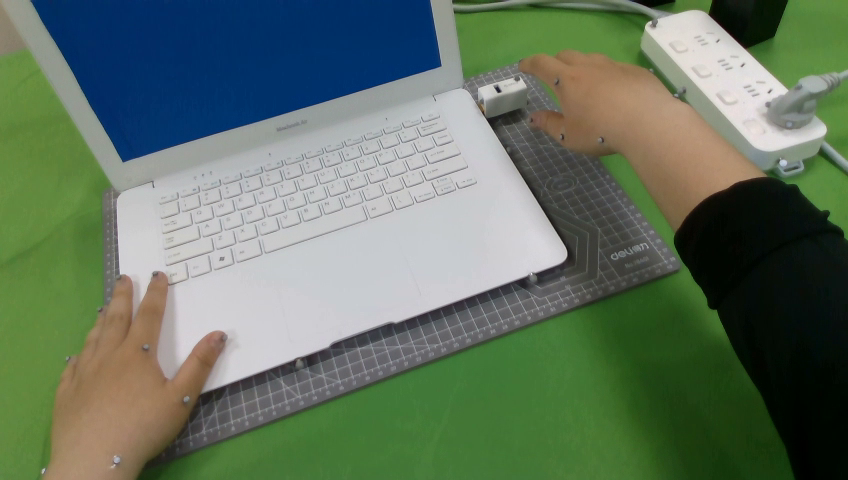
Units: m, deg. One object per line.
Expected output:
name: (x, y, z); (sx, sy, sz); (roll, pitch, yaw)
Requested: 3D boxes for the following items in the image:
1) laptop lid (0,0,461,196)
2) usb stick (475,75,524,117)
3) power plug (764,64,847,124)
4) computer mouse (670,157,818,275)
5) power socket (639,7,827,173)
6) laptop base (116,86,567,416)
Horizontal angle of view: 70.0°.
laptop lid: (-0.147, -0.184, 0.523); (0.357, 0.244, 0.013); (-21, 40, -6)
usb stick: (0.067, -0.138, 0.591); (0.059, 0.027, 0.021); (-20, 51, -5)
power plug: (0.331, -0.118, 0.519); (0.072, 0.053, 0.035); (-8, 55, 1)
computer mouse: (0.253, -0.026, 0.484); (0.063, 0.041, 0.116); (-19, 49, -5)
power socket: (0.285, -0.152, 0.578); (0.072, 0.033, 0.224); (-17, 52, -5)
laptop base: (-0.085, -0.010, 0.529); (0.355, 0.023, 0.233); (-20, 56, -8)
